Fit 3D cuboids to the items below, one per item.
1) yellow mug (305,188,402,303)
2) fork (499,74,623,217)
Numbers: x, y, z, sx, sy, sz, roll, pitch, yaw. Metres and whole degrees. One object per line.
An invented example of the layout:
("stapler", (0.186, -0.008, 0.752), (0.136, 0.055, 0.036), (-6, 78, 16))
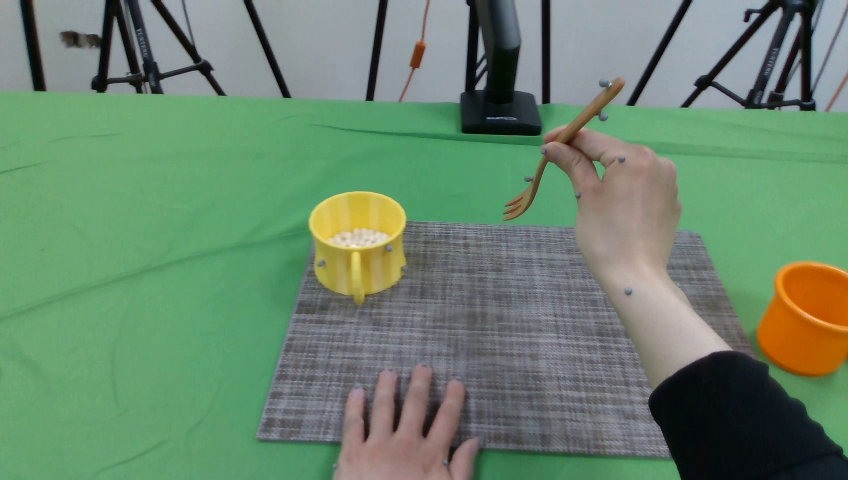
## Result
("yellow mug", (-0.072, 0.009, 0.631), (0.100, 0.064, 0.129), (-2, 41, -5))
("fork", (0.103, -0.068, 0.494), (0.018, 0.208, 0.028), (21, 64, -3))
